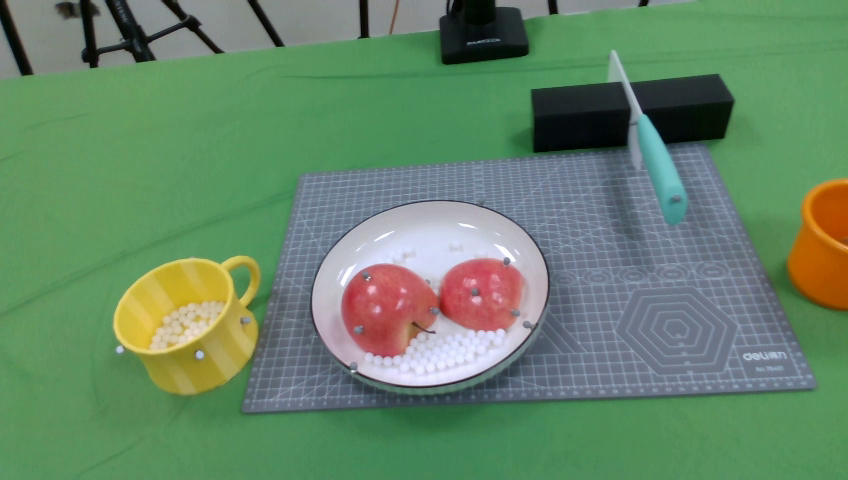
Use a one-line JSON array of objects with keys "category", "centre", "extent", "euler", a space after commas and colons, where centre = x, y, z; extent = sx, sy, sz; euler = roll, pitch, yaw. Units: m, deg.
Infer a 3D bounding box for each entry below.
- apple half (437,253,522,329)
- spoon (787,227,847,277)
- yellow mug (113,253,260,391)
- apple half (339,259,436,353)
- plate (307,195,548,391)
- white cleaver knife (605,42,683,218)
[{"category": "apple half", "centre": [0.047, 0.035, 0.524], "extent": [0.081, 0.033, 0.080], "euler": [-4, 50, 5]}, {"category": "spoon", "centre": [0.380, -0.023, 0.465], "extent": [0.022, 0.194, 0.041], "euler": [28, 44, -26]}, {"category": "yellow mug", "centre": [-0.195, 0.060, 0.533], "extent": [0.099, 0.064, 0.130], "euler": [24, 54, 27]}, {"category": "apple half", "centre": [-0.034, 0.047, 0.513], "extent": [0.081, 0.054, 0.074], "euler": [-37, 50, -23]}, {"category": "plate", "centre": [0.003, 0.043, 0.533], "extent": [0.209, 0.038, 0.207], "euler": [-4, 47, 5]}, {"category": "white cleaver knife", "centre": [0.221, -0.118, 0.629], "extent": [0.021, 0.066, 0.283], "euler": [-6, 43, 9]}]
